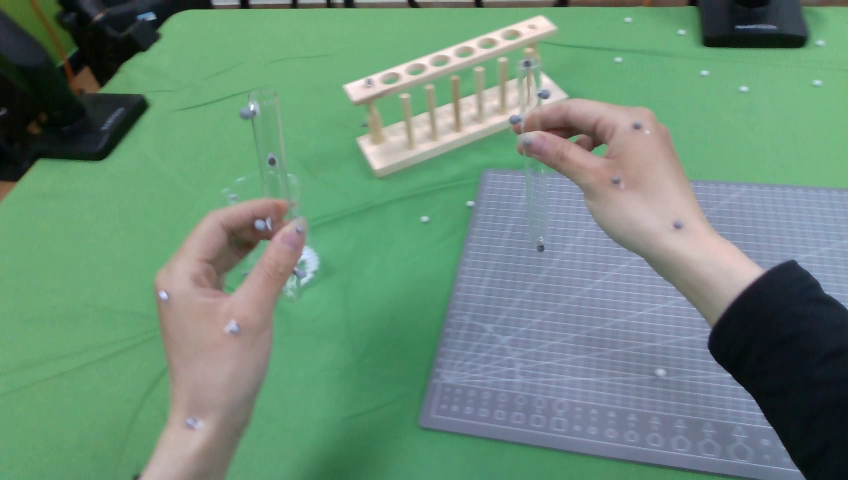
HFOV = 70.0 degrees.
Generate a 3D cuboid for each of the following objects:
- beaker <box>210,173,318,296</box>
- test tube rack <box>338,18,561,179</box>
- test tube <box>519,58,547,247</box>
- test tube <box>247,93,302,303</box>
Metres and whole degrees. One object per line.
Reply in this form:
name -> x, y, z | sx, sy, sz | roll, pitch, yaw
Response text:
beaker -> -0.142, -0.003, 0.566 | 0.073, 0.101, 0.084 | 28, 58, 29
test tube rack -> 0.035, -0.162, 0.685 | 0.242, 0.086, 0.066 | -23, 50, -11
test tube -> 0.078, -0.055, 0.430 | 0.017, 0.152, 0.017 | -6, 38, 5
test tube -> -0.088, -0.017, 0.366 | 0.017, 0.152, 0.017 | 2, 39, -1
